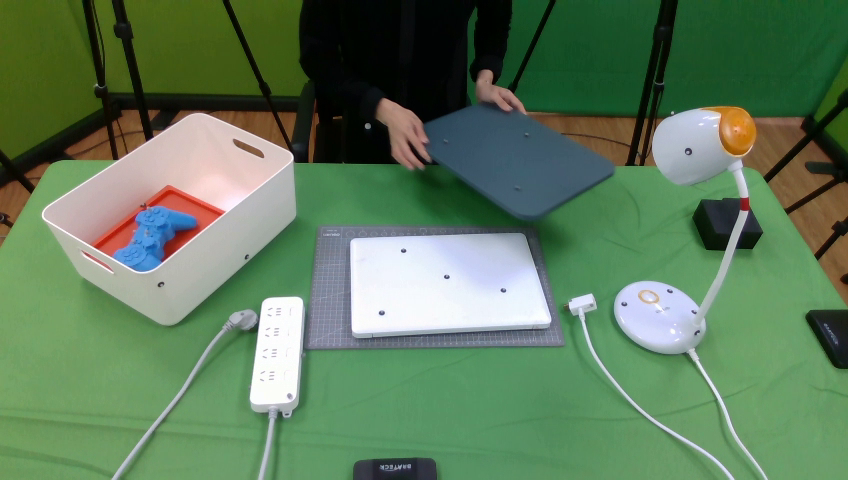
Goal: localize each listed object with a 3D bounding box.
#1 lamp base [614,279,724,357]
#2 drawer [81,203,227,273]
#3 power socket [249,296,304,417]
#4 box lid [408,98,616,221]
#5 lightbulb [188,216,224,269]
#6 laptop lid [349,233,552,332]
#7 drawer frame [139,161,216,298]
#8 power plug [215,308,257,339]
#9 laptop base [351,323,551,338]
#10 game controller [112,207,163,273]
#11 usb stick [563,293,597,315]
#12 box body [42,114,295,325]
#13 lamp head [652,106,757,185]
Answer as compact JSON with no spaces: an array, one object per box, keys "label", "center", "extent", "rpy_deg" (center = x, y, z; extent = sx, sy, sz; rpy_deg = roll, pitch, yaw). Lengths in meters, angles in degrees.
[{"label":"lamp base","center":[0.436,0.090,1.034],"extent":[0.161,0.181,0.178],"rpy_deg":[-23,55,-23]},{"label":"drawer","center":[-0.456,0.009,1.088],"extent":[0.194,0.073,0.211],"rpy_deg":[24,43,17]},{"label":"power socket","center":[-0.239,0.182,0.996],"extent":[0.072,0.033,0.225],"rpy_deg":[-2,47,-5]},{"label":"box lid","center":[0.172,-0.176,1.222],"extent":[0.263,0.015,0.369],"rpy_deg":[-29,49,-28]},{"label":"lightbulb","center":[-0.405,0.005,1.112],"extent":[0.059,0.060,0.107],"rpy_deg":[7,58,2]},{"label":"laptop lid","center":[0.040,0.070,1.119],"extent":[0.357,0.013,0.240],"rpy_deg":[-1,44,-5]},{"label":"drawer frame","center":[-0.435,-0.026,1.063],"extent":[0.083,0.214,0.201],"rpy_deg":[-9,13,-30]},{"label":"power plug","center":[-0.317,0.143,1.024],"extent":[0.072,0.053,0.035],"rpy_deg":[-32,58,-9]},{"label":"laptop base","center":[0.040,0.080,1.125],"extent":[0.355,0.023,0.234],"rpy_deg":[-2,43,-6]},{"label":"game controller","center":[-0.463,0.001,1.040],"extent":[0.097,0.052,0.154],"rpy_deg":[4,46,4]},{"label":"usb stick","center":[0.280,0.118,1.093],"extent":[0.059,0.021,0.027],"rpy_deg":[-18,35,25]},{"label":"box body","center":[-0.437,-0.046,1.110],"extent":[0.253,0.161,0.363],"rpy_deg":[24,49,19]},{"label":"lamp head","center":[0.411,-0.139,0.869],"extent":[0.113,0.122,0.112],"rpy_deg":[0,89,-19]}]
